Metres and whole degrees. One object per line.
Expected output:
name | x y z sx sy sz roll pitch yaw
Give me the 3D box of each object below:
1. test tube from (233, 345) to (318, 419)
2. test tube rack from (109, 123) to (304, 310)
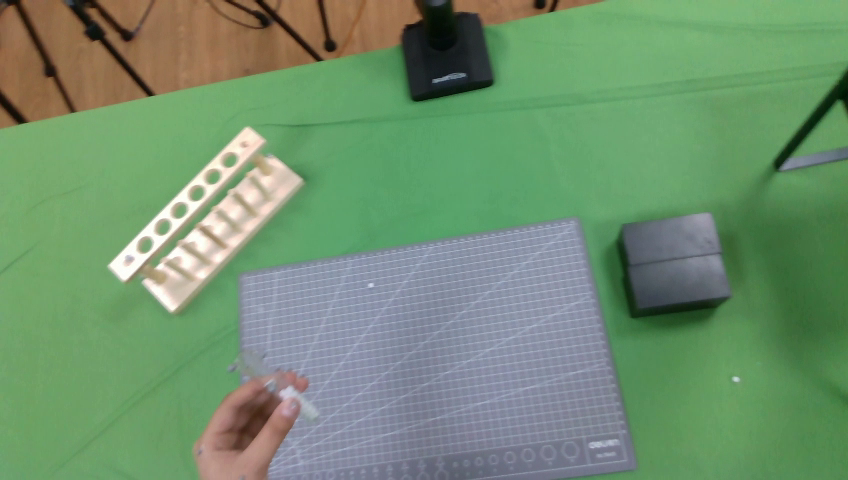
test tube | -0.117 0.121 0.497 0.017 0.152 0.017 -5 58 9
test tube rack | -0.275 -0.029 0.785 0.066 0.086 0.242 39 81 19
